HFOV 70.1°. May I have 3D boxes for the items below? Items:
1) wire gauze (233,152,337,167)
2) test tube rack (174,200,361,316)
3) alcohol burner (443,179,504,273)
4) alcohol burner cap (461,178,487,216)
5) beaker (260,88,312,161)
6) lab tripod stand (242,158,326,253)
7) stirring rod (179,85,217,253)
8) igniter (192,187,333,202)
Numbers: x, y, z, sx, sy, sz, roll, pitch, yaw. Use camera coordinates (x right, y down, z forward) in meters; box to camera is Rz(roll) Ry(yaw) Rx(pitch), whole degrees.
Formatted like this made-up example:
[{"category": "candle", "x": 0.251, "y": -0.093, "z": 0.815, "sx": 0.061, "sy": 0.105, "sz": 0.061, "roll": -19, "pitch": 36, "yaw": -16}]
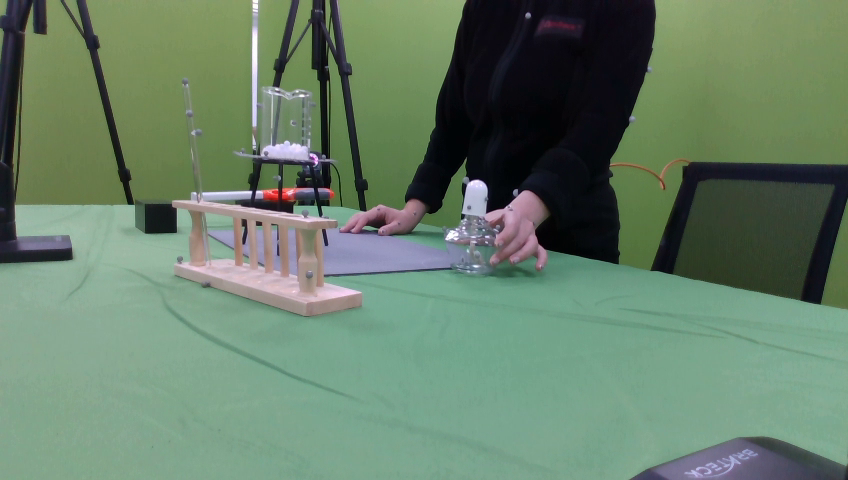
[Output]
[{"category": "wire gauze", "x": -0.205, "y": -0.119, "z": 0.887, "sx": 0.122, "sy": 0.011, "sz": 0.124, "roll": 2, "pitch": 4, "yaw": -32}, {"category": "test tube rack", "x": -0.169, "y": 0.009, "z": 0.622, "sx": 0.241, "sy": 0.085, "sz": 0.067, "roll": 9, "pitch": 9, "yaw": 41}, {"category": "alcohol burner", "x": 0.063, "y": -0.019, "z": 0.773, "sx": 0.078, "sy": 0.119, "sz": 0.078, "roll": 1, "pitch": 7, "yaw": 0}, {"category": "alcohol burner cap", "x": 0.065, "y": -0.054, "z": 0.767, "sx": 0.034, "sy": 0.048, "sz": 0.034, "roll": 6, "pitch": 5, "yaw": 0}, {"category": "beaker", "x": -0.201, "y": -0.166, "z": 0.876, "sx": 0.074, "sy": 0.100, "sz": 0.083, "roll": 1, "pitch": 7, "yaw": -18}, {"category": "lab tripod stand", "x": -0.207, "y": -0.054, "z": 0.895, "sx": 0.148, "sy": 0.131, "sz": 0.148, "roll": 3, "pitch": 5, "yaw": 0}, {"category": "stirring rod", "x": -0.236, "y": -0.073, "z": 0.634, "sx": 0.006, "sy": 0.176, "sz": 0.014, "roll": 0, "pitch": 10, "yaw": 42}, {"category": "igniter", "x": -0.316, "y": -0.090, "z": 1.214, "sx": 0.278, "sy": 0.025, "sz": 0.057, "roll": -5, "pitch": 12, "yaw": -31}]
